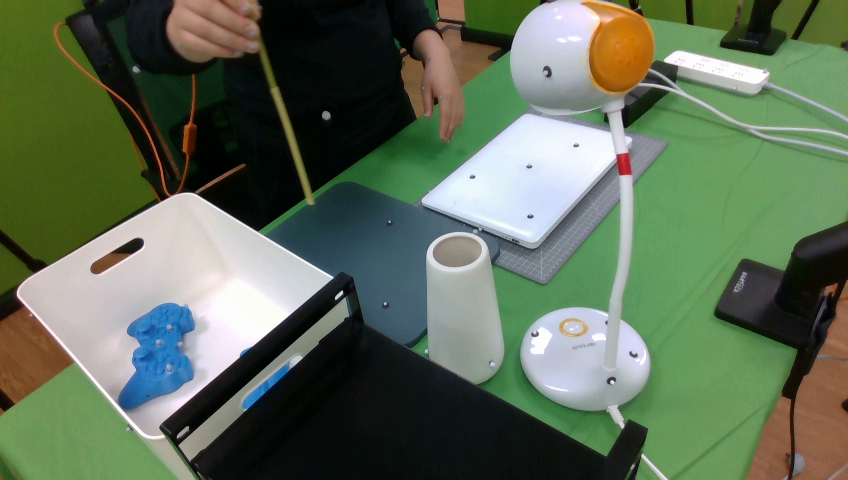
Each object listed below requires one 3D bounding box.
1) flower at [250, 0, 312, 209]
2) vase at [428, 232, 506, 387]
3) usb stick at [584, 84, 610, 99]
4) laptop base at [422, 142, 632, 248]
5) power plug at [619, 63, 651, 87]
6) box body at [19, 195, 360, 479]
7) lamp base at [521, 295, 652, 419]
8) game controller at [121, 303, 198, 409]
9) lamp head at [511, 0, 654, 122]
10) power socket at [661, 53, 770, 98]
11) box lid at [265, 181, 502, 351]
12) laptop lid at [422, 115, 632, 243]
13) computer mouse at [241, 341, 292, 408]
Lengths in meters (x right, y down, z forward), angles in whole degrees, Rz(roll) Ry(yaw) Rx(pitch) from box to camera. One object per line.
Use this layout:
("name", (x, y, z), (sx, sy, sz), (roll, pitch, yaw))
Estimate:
("flower", (-0.151, -0.183, 0.589), (0.038, 0.363, 0.044), (14, 41, 27))
("vase", (0.050, 0.087, 0.728), (0.098, 0.201, 0.097), (-3, 40, 3))
("usb stick", (0.353, -0.306, 1.252), (0.027, 0.021, 0.058), (1, -1, -40))
("laptop base", (0.192, -0.117, 1.087), (0.233, 0.023, 0.355), (21, 47, 35))
("power plug", (0.435, -0.341, 1.265), (0.035, 0.053, 0.072), (5, 30, -14))
("box body", (-0.288, 0.118, 0.772), (0.361, 0.161, 0.255), (26, 50, 33))
("lamp base", (0.200, 0.095, 0.710), (0.161, 0.181, 0.178), (-16, 43, -10))
("game controller", (-0.364, 0.149, 0.828), (0.097, 0.052, 0.154), (-13, 41, -9))
("lamp head", (0.155, -0.168, 0.563), (0.113, 0.113, 0.122), (-18, 23, -12))
("power socket", (0.617, -0.355, 1.292), (0.225, 0.033, 0.072), (29, 53, 35))
("box lid", (-0.087, 0.023, 0.971), (0.368, 0.015, 0.264), (23, 49, 31))
("laptop lid", (0.189, -0.126, 1.081), (0.239, 0.013, 0.358), (23, 49, 34))
("computer mouse", (-0.201, 0.177, 0.776), (0.063, 0.041, 0.116), (-11, 44, -8))
